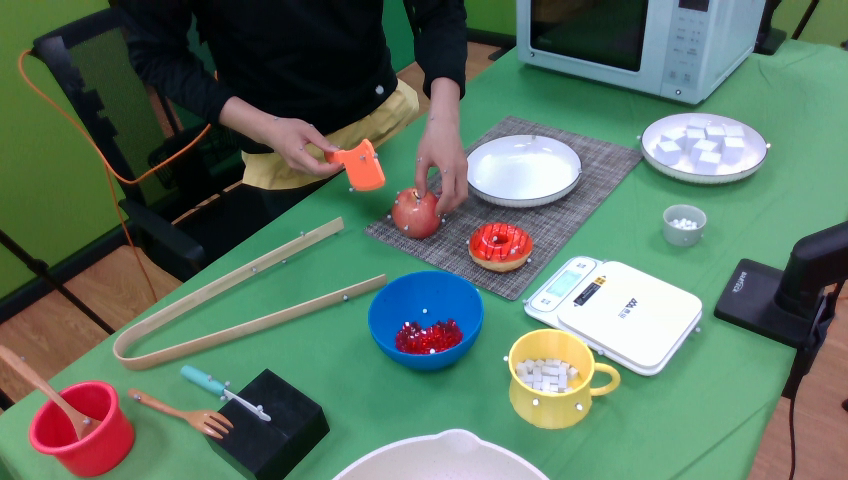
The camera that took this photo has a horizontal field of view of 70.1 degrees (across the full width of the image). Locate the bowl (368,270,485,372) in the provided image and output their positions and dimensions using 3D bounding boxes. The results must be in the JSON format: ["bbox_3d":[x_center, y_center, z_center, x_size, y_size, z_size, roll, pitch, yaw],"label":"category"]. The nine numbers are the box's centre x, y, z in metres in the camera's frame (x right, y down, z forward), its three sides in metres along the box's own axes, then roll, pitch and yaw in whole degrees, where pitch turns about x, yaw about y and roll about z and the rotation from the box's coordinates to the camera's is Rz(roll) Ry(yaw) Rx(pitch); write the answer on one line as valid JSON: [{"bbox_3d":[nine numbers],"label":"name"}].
[{"bbox_3d":[0.007,0.118,0.791,0.151,0.077,0.150,-4,40,4],"label":"bowl"}]

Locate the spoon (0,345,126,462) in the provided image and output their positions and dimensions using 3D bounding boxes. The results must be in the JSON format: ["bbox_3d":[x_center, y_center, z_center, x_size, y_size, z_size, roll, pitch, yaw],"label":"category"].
[{"bbox_3d":[-0.434,0.192,0.720,0.194,0.021,0.042,47,54,-7],"label":"spoon"}]

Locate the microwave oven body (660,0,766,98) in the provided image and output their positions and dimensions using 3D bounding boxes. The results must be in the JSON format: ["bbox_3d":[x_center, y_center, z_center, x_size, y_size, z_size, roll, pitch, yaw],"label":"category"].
[{"bbox_3d":[0.472,-0.513,1.317,0.438,0.261,0.327,26,51,34],"label":"microwave oven body"}]

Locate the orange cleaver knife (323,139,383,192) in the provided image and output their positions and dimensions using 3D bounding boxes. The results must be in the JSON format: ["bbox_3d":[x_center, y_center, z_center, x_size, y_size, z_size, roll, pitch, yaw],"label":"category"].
[{"bbox_3d":[-0.110,-0.111,0.914,0.012,0.077,0.210,-19,14,-25],"label":"orange cleaver knife"}]

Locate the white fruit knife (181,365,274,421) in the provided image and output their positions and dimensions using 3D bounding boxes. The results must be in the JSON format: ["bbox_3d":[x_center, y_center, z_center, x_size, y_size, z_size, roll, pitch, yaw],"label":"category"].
[{"bbox_3d":[-0.245,0.187,0.747,0.205,0.027,0.016,9,41,40],"label":"white fruit knife"}]

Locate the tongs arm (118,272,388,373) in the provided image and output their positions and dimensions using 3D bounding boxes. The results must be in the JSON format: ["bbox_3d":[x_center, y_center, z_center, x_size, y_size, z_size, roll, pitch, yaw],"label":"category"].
[{"bbox_3d":[-0.235,0.116,0.870,0.389,0.028,0.028,-19,49,-13],"label":"tongs arm"}]

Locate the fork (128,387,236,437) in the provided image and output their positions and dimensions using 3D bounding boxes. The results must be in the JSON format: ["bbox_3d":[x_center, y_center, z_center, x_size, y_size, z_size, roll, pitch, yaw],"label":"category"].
[{"bbox_3d":[-0.305,0.207,0.744,0.206,0.019,0.028,3,42,36],"label":"fork"}]

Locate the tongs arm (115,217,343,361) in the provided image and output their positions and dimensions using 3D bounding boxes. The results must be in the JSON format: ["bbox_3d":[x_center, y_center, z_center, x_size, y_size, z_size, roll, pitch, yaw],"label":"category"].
[{"bbox_3d":[-0.280,0.069,0.927,0.386,0.026,0.050,-29,49,-23],"label":"tongs arm"}]

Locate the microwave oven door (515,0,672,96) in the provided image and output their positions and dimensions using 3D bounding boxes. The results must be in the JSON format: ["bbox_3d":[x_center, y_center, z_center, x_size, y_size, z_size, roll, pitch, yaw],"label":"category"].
[{"bbox_3d":[0.343,-0.455,1.259,0.353,0.245,0.039,26,51,33],"label":"microwave oven door"}]

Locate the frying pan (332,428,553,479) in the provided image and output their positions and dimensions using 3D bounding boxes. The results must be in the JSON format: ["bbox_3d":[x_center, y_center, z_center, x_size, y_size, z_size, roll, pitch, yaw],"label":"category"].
[{"bbox_3d":[-0.089,0.306,0.564,0.487,0.103,0.306,10,41,7],"label":"frying pan"}]

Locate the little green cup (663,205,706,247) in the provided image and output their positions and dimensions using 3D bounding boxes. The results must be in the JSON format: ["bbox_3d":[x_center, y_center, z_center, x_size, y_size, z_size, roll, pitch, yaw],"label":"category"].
[{"bbox_3d":[0.396,-0.020,0.926,0.061,0.039,0.061,-4,40,4],"label":"little green cup"}]

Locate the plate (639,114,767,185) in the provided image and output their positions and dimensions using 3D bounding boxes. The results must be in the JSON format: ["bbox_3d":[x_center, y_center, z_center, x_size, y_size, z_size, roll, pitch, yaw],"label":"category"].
[{"bbox_3d":[0.489,-0.157,1.074,0.207,0.039,0.206,-4,40,4],"label":"plate"}]

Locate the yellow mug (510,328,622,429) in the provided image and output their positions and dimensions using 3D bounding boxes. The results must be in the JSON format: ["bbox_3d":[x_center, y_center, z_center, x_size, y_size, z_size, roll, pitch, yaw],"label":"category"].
[{"bbox_3d":[0.169,0.164,0.721,0.130,0.064,0.099,0,40,8],"label":"yellow mug"}]

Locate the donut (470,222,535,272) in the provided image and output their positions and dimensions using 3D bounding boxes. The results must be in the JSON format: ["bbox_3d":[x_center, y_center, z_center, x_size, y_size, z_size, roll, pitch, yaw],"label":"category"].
[{"bbox_3d":[0.119,0.009,0.923,0.099,0.048,0.098,-4,38,4],"label":"donut"}]

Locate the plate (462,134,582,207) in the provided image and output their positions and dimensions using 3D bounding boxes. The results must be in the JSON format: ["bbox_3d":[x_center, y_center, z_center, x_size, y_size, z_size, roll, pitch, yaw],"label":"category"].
[{"bbox_3d":[0.173,-0.119,1.070,0.209,0.038,0.208,-4,40,4],"label":"plate"}]

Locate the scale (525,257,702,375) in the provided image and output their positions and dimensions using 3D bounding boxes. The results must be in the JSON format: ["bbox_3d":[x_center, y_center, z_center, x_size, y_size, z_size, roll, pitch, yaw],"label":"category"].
[{"bbox_3d":[0.254,0.091,0.821,0.199,0.032,0.149,28,51,35],"label":"scale"}]

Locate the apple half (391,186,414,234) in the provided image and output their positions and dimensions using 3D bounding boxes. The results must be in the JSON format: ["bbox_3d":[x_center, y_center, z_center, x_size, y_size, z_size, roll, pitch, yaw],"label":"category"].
[{"bbox_3d":[-0.036,-0.047,0.987,0.032,0.081,0.081,10,43,14],"label":"apple half"}]

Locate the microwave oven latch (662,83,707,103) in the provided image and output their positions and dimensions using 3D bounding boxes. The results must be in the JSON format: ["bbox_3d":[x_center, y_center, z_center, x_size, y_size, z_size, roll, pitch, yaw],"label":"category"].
[{"bbox_3d":[0.517,-0.296,1.204,0.078,0.029,0.030,28,52,35],"label":"microwave oven latch"}]

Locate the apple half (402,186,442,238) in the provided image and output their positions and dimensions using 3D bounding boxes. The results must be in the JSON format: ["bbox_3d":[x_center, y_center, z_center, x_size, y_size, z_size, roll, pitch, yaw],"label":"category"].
[{"bbox_3d":[0.001,-0.042,0.979,0.053,0.075,0.081,10,38,14],"label":"apple half"}]
